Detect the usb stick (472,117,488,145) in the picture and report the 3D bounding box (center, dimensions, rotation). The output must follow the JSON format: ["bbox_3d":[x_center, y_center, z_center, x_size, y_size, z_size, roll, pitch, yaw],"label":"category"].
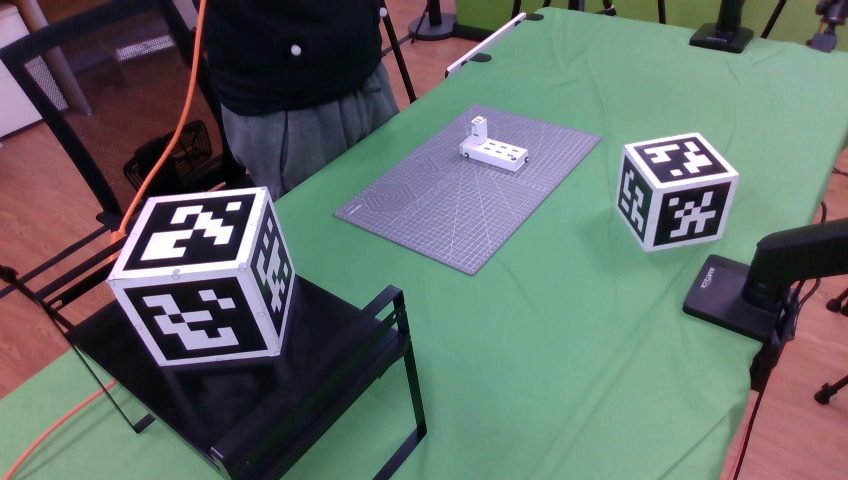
[{"bbox_3d":[0.106,-0.200,1.138,0.021,0.059,0.027,22,52,29],"label":"usb stick"}]

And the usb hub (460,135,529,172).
[{"bbox_3d":[0.132,-0.165,1.138,0.124,0.025,0.049,22,49,30],"label":"usb hub"}]
